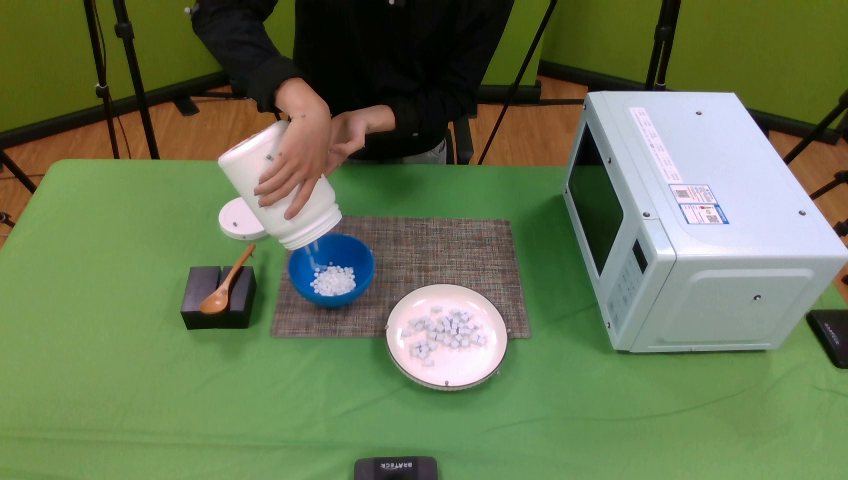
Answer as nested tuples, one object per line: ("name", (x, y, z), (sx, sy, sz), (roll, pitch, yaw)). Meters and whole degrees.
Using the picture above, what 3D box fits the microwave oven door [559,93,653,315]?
("microwave oven door", (0.327, -0.074, 1.123), (0.039, 0.245, 0.353), (-1, 46, -5))

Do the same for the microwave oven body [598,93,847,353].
("microwave oven body", (0.475, -0.041, 1.109), (0.326, 0.261, 0.438), (-1, 45, -4))

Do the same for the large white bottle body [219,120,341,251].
("large white bottle body", (-0.229, -0.087, 0.991), (0.130, 0.185, 0.130), (-27, 18, 10))

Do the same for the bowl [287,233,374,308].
("bowl", (-0.164, 0.068, 1.078), (0.151, 0.077, 0.150), (3, 46, -2))

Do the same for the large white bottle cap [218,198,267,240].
("large white bottle cap", (-0.355, -0.045, 1.220), (0.115, 0.018, 0.114), (2, 45, -2))

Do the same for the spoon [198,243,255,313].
("spoon", (-0.333, 0.062, 1.052), (0.041, 0.022, 0.193), (8, 40, 8))

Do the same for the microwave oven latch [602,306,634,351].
("microwave oven latch", (0.332, 0.153, 1.044), (0.030, 0.029, 0.078), (0, 45, -4))

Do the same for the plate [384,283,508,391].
("plate", (0.036, 0.166, 1.029), (0.209, 0.038, 0.208), (2, 49, -2))
